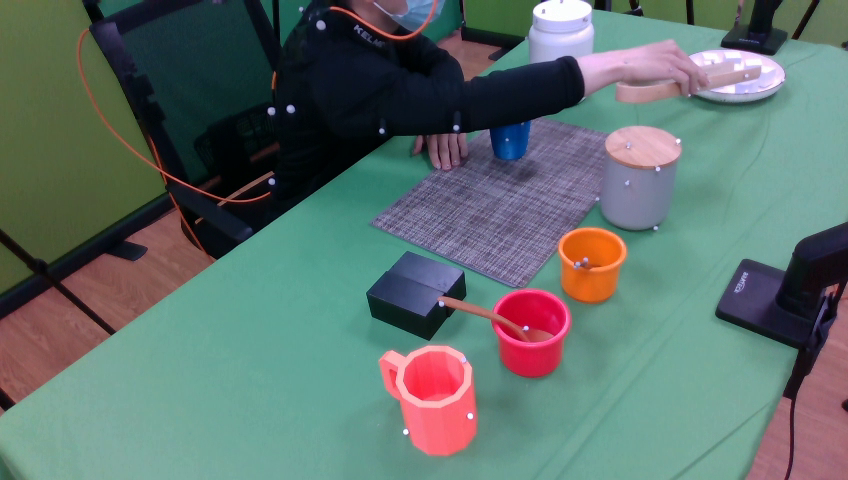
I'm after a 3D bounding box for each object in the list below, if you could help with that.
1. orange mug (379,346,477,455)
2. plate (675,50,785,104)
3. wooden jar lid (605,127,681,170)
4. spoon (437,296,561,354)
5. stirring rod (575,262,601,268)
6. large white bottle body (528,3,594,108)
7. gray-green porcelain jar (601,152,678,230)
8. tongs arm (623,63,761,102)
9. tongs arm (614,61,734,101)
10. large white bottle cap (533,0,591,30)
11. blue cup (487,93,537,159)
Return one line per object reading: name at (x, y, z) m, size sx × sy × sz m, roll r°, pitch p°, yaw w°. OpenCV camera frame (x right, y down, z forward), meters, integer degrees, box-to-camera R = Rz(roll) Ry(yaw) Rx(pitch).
orange mug at (0.002, 0.179, 0.708) m, size 0.125 × 0.101 × 0.083 m, roll 25°, pitch 50°, yaw 27°
plate at (0.632, -0.336, 1.262) m, size 0.207 × 0.039 × 0.206 m, roll -4°, pitch 41°, yaw 4°
wooden jar lid at (0.327, -0.134, 0.909) m, size 0.108 × 0.021 × 0.108 m, roll -2°, pitch 43°, yaw 2°
spoon at (0.096, 0.102, 0.750) m, size 0.195 × 0.021 × 0.041 m, roll 28°, pitch 31°, yaw -28°
stirring rod at (0.223, 0.034, 0.816) m, size 0.014 × 0.006 × 0.177 m, roll 8°, pitch 1°, yaw 22°
large white bottle body at (0.283, -0.385, 1.259) m, size 0.130 × 0.185 × 0.130 m, roll -4°, pitch 41°, yaw 4°
gray-green porcelain jar at (0.335, -0.087, 0.949) m, size 0.106 × 0.127 × 0.105 m, roll -4°, pitch 40°, yaw 4°
tongs arm at (0.491, -0.282, 1.073) m, size 0.390 × 0.028 × 0.028 m, roll -17°, pitch 33°, yaw -31°
tongs arm at (0.471, -0.293, 1.098) m, size 0.387 × 0.026 × 0.050 m, roll -16°, pitch 29°, yaw -30°
large white bottle cap at (0.275, -0.449, 1.204) m, size 0.115 × 0.018 × 0.114 m, roll -4°, pitch 41°, yaw 4°
blue cup at (0.161, -0.208, 1.129) m, size 0.092 × 0.100 × 0.092 m, roll -3°, pitch 39°, yaw 3°
